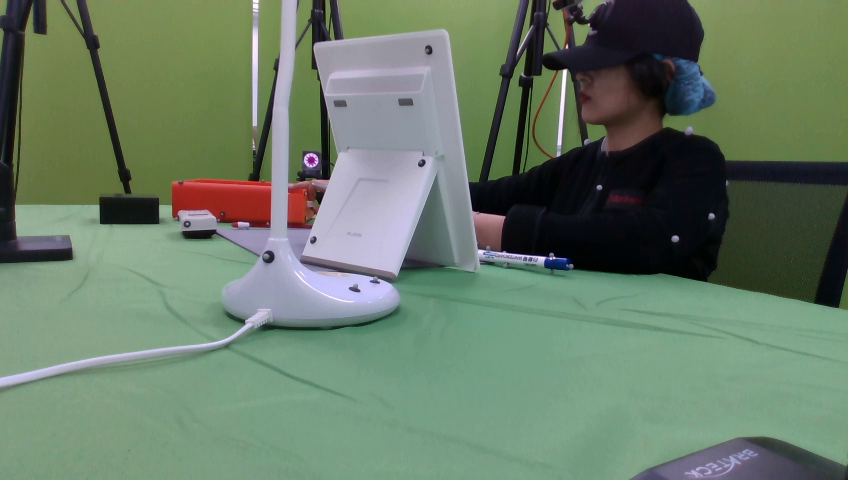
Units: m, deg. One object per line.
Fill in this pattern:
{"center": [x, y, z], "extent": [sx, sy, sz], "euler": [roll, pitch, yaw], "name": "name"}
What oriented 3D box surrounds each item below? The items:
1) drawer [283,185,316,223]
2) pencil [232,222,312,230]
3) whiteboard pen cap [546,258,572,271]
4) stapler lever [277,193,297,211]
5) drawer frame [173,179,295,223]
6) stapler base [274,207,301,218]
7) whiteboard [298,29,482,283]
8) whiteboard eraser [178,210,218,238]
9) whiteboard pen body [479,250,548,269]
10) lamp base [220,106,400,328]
{"center": [-0.349, -0.084, 1.310], "extent": [0.212, 0.073, 0.194], "euler": [2, 8, -4], "name": "drawer"}
{"center": [-0.261, -0.025, 1.141], "extent": [0.195, 0.012, 0.012], "euler": [2, 7, -26], "name": "pencil"}
{"center": [0.175, 0.032, 0.790], "extent": [0.033, 0.018, 0.018], "euler": [3, 6, 37], "name": "whiteboard pen cap"}
{"center": [-0.293, -0.081, 1.298], "extent": [0.027, 0.040, 0.118], "euler": [-1, 4, -4], "name": "stapler lever"}
{"center": [-0.400, -0.087, 1.306], "extent": [0.214, 0.082, 0.201], "euler": [1, 8, -5], "name": "drawer frame"}
{"center": [-0.291, -0.059, 1.297], "extent": [0.041, 0.024, 0.130], "euler": [-1, 0, -4], "name": "stapler base"}
{"center": [-0.075, -0.082, 0.742], "extent": [0.216, 0.305, 0.144], "euler": [9, 29, 37], "name": "whiteboard"}
{"center": [-0.380, -0.027, 1.014], "extent": [0.056, 0.042, 0.112], "euler": [0, 8, -25], "name": "whiteboard eraser"}
{"center": [0.129, 0.028, 0.827], "extent": [0.140, 0.017, 0.017], "euler": [6, 8, 39], "name": "whiteboard pen body"}
{"center": [-0.101, -0.023, 0.531], "extent": [0.160, 0.180, 0.179], "euler": [4, 10, 10], "name": "lamp base"}
